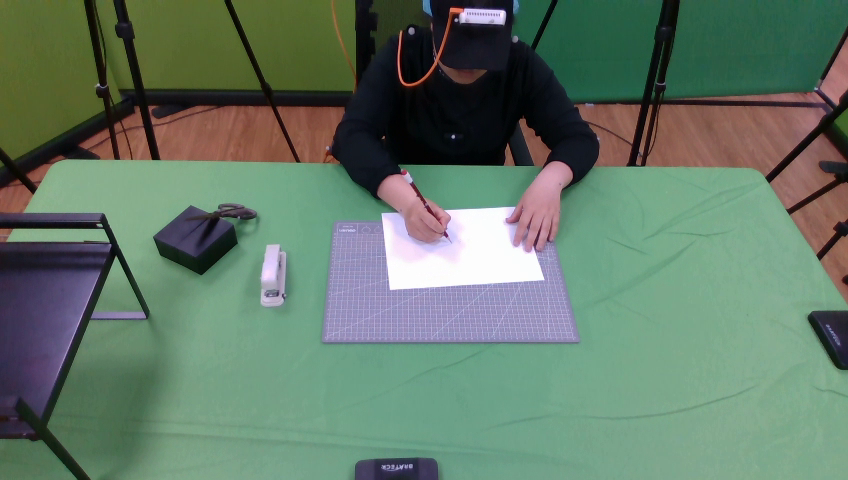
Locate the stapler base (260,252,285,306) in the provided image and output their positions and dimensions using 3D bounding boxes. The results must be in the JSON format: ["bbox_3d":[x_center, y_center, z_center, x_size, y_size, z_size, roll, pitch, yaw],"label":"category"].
[{"bbox_3d":[-0.279,0.064,1.113,0.041,0.024,0.129,-2,44,-9],"label":"stapler base"}]

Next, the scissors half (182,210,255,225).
[{"bbox_3d":[-0.389,-0.042,1.158,0.040,0.013,0.175,42,21,22],"label":"scissors half"}]

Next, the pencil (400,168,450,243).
[{"bbox_3d":[0.006,-0.061,1.150,0.012,0.195,0.012,-23,35,17],"label":"pencil"}]

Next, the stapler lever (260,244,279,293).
[{"bbox_3d":[-0.278,0.045,1.096,0.027,0.040,0.117,-2,44,-9],"label":"stapler lever"}]

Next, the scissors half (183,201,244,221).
[{"bbox_3d":[-0.405,-0.054,1.163,0.040,0.013,0.175,30,18,7],"label":"scissors half"}]
